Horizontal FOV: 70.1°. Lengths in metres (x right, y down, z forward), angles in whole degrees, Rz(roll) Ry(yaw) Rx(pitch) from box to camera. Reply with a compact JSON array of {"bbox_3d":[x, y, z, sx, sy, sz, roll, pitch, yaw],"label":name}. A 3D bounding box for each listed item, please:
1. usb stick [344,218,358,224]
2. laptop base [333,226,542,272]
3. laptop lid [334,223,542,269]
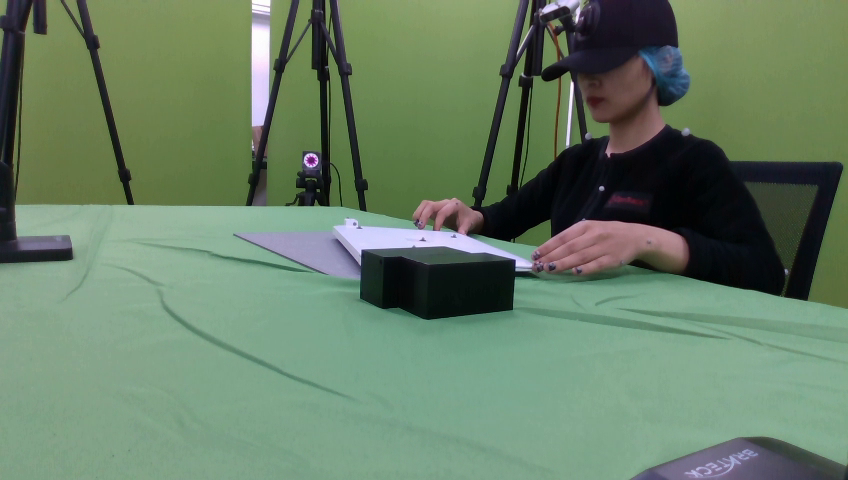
[{"bbox_3d":[-0.128,-0.024,1.066,0.021,0.027,0.059,3,9,-12],"label":"usb stick"},{"bbox_3d":[-0.004,0.015,0.903,0.236,0.023,0.353,5,6,-15],"label":"laptop base"},{"bbox_3d":[-0.001,0.004,0.903,0.242,0.013,0.355,4,7,-14],"label":"laptop lid"}]
